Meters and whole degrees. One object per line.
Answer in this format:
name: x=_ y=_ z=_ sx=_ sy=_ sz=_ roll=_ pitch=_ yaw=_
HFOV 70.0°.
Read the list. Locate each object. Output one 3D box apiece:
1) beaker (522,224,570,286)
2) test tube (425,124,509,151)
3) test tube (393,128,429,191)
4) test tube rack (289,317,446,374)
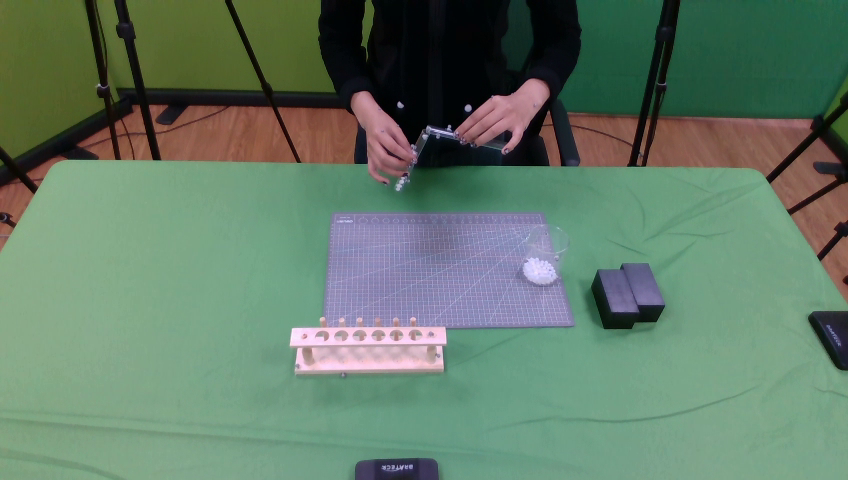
beaker: x=0.221 y=0.032 z=1.129 sx=0.084 sy=0.101 sz=0.073 roll=-6 pitch=46 yaw=-9
test tube: x=0.074 y=-0.176 z=1.043 sx=0.150 sy=0.017 sz=0.017 roll=15 pitch=47 yaw=13
test tube: x=-0.025 y=-0.144 z=1.110 sx=0.017 sy=0.151 sz=0.017 roll=16 pitch=44 yaw=-16
test tube rack: x=-0.089 y=0.167 z=0.988 sx=0.242 sy=0.085 sz=0.066 roll=0 pitch=46 yaw=-4
